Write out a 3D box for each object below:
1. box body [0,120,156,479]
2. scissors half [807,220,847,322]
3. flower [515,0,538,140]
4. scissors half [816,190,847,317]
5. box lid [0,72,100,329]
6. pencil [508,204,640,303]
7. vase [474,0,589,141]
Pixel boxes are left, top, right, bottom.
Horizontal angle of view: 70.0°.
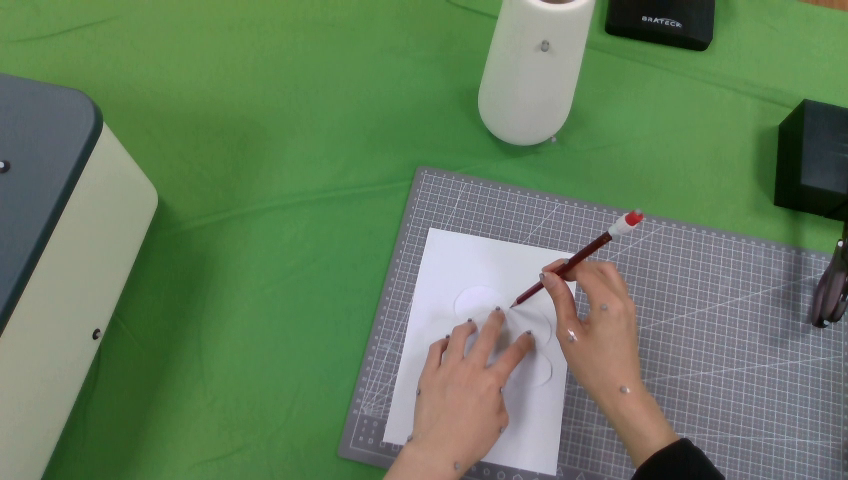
[{"bbox_3d":[-0.422,0.049,0.507,0.254,0.161,0.362,12,70,4],"label":"box body"},{"bbox_3d":[0.395,-0.005,0.578,0.012,0.040,0.175,17,89,21],"label":"scissors half"},{"bbox_3d":[0.096,-0.221,0.501,0.044,0.365,0.038,6,52,6],"label":"flower"},{"bbox_3d":[0.390,-0.011,0.559,0.013,0.040,0.174,18,71,16],"label":"scissors half"},{"bbox_3d":[-0.422,0.020,0.437,0.263,0.015,0.369,13,70,4],"label":"box lid"},{"bbox_3d":[0.115,0.020,0.506,0.012,0.194,0.012,10,62,-18],"label":"pencil"},{"bbox_3d":[0.100,-0.179,0.574,0.098,0.201,0.097,0,68,1],"label":"vase"}]
